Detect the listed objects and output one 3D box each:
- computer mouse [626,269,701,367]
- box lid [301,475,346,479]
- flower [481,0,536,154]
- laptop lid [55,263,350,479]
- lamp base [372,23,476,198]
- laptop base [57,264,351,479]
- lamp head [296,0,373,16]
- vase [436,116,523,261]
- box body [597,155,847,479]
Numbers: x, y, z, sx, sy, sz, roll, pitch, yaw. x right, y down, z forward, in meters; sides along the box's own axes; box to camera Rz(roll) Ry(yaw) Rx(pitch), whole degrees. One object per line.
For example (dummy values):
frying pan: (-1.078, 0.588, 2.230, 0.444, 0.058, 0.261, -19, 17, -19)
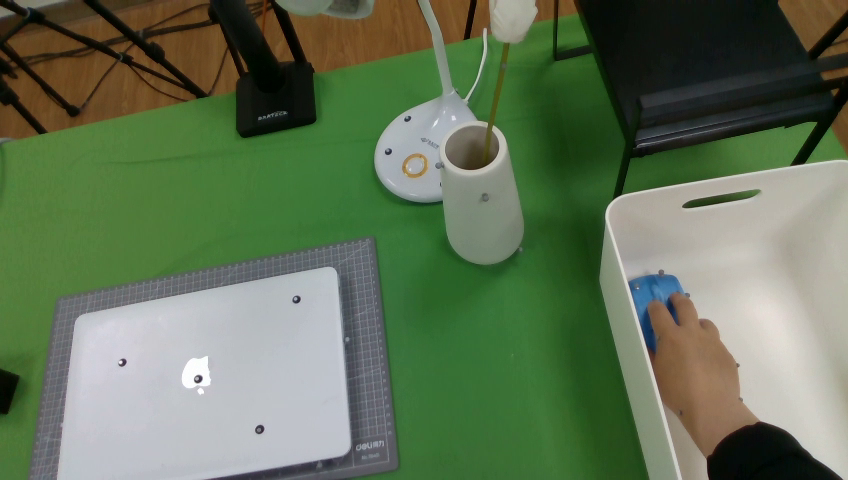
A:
computer mouse: (0.265, 0.084, 0.680, 0.063, 0.041, 0.116, -11, 58, 7)
box lid: (-0.240, 0.405, 0.625, 0.371, 0.015, 0.261, -11, 63, 4)
flower: (0.064, -0.102, 0.627, 0.038, 0.365, 0.043, -15, 51, -18)
laptop lid: (-0.269, 0.164, 0.731, 0.356, 0.013, 0.239, -10, 65, 5)
lamp base: (-0.001, -0.174, 0.778, 0.160, 0.182, 0.178, 20, 66, 18)
laptop base: (-0.268, 0.166, 0.742, 0.354, 0.023, 0.233, -11, 66, 3)
lamp head: (-0.078, -0.261, 0.495, 0.112, 0.113, 0.122, 17, 85, 17)
vase: (0.062, -0.055, 0.697, 0.098, 0.202, 0.097, -5, 62, 9)
box body: (0.329, 0.126, 0.583, 0.254, 0.162, 0.360, -10, 62, 5)
